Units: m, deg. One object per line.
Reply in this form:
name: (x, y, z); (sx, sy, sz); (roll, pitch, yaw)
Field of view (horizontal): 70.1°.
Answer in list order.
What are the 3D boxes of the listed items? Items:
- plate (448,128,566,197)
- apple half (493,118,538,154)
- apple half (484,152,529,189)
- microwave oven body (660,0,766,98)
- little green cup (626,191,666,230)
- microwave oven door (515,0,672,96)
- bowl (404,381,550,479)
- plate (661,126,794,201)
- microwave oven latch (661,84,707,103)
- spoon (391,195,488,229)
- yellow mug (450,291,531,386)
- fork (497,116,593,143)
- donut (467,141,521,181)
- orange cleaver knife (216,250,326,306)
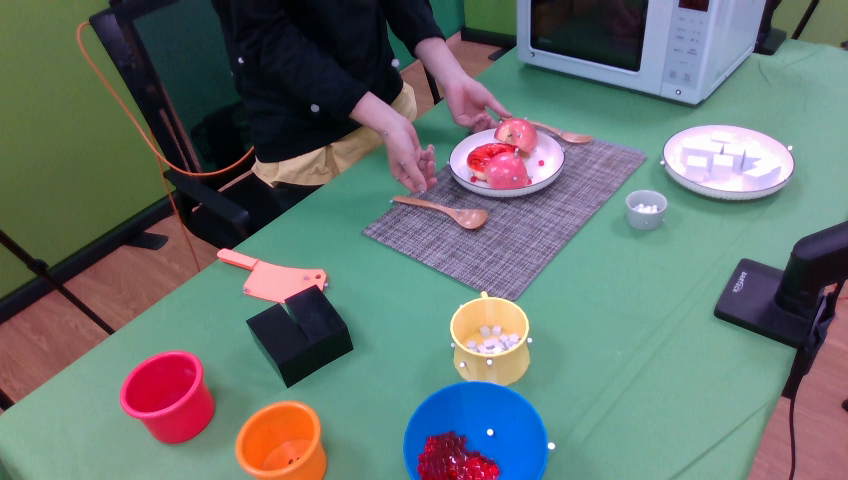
plate: (0.150, -0.138, 1.096); (0.209, 0.038, 0.208); (-4, 40, 4)
apple half: (0.175, -0.196, 1.113); (0.080, 0.053, 0.075); (29, 12, 34)
apple half: (0.144, -0.116, 1.031); (0.081, 0.033, 0.081); (3, 77, -11)
microwave oven body: (0.472, -0.513, 1.317); (0.438, 0.261, 0.327); (26, 51, 34)
little green cup: (0.352, -0.046, 0.963); (0.061, 0.039, 0.061); (-4, 40, 4)
microwave oven door: (0.343, -0.455, 1.259); (0.353, 0.245, 0.039); (26, 51, 33)
bowl: (0.058, 0.235, 0.645); (0.151, 0.077, 0.150); (-4, 39, 4)
plate: (0.513, -0.128, 1.035); (0.207, 0.039, 0.206); (-4, 40, 4)
microwave oven latch: (0.517, -0.296, 1.204); (0.078, 0.029, 0.030); (27, 52, 35)
spoon: (0.023, -0.054, 1.029); (0.192, 0.022, 0.041); (18, 68, 27)
yellow mug: (0.085, 0.120, 0.786); (0.100, 0.064, 0.130); (-7, 39, 1)
fork: (0.235, -0.220, 1.195); (0.206, 0.019, 0.028); (23, 56, 28)
donut: (0.127, -0.144, 1.090); (0.099, 0.048, 0.098); (-5, 38, 5)
orange cleaver knife: (-0.248, 0.058, 0.945); (0.210, 0.012, 0.077); (13, 49, 20)
